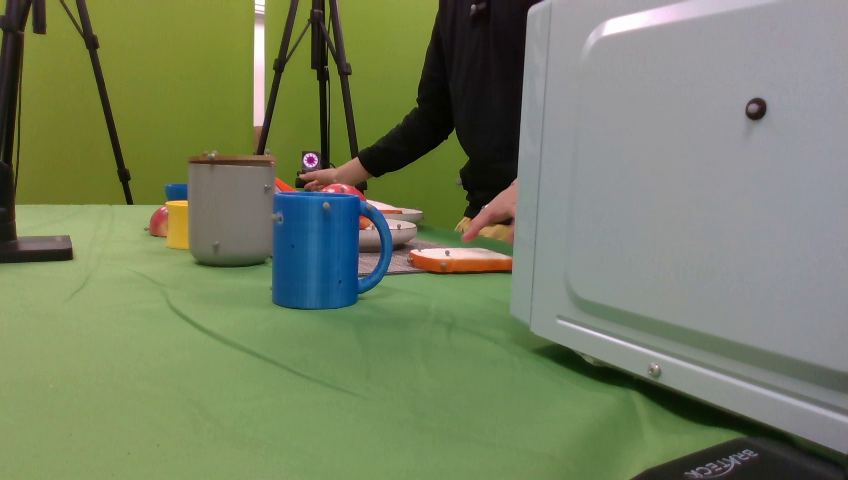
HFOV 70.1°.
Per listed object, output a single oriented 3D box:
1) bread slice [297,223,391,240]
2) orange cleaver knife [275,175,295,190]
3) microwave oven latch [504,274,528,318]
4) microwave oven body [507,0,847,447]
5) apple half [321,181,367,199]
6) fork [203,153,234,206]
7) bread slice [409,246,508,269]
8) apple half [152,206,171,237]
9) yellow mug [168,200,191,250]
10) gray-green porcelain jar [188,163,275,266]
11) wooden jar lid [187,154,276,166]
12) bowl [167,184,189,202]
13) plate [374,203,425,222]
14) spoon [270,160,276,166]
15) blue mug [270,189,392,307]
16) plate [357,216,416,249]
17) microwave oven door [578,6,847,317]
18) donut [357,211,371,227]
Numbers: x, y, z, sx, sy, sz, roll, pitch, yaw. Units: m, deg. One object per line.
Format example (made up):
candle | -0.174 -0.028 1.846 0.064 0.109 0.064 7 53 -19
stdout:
bread slice | -0.121 -0.015 0.970 0.106 0.018 0.135 9 8 41
orange cleaver knife | -0.283 -0.087 1.343 0.212 0.077 0.012 24 -16 -41
microwave oven latch | 0.100 0.041 0.471 0.079 0.029 0.030 -1 8 -28
microwave oven body | 0.331 -0.042 0.425 0.444 0.260 0.324 -2 8 -31
apple half | -0.129 -0.076 0.950 0.081 0.033 0.081 2 14 0
fork | -0.480 -0.136 1.411 0.028 0.018 0.207 0 -34 -1
bread slice | 0.048 0.022 0.816 0.132 0.019 0.104 0 7 -23
apple half | -0.415 -0.034 1.017 0.081 0.053 0.074 1 10 -9
yellow mug | -0.320 -0.023 0.904 0.130 0.064 0.100 8 10 36
gray-green porcelain jar | -0.246 -0.034 0.780 0.106 0.126 0.106 2 7 0
wooden jar lid | -0.244 -0.097 0.771 0.108 0.020 0.108 -1 7 0
bowl | -0.408 -0.064 1.154 0.151 0.077 0.151 2 8 0
plate | -0.102 -0.053 1.299 0.209 0.038 0.209 2 8 0
spoon | -0.396 -0.150 1.548 0.042 0.193 0.021 3 -37 -4
blue mug | -0.090 0.005 0.588 0.117 0.106 0.082 1 7 -11
plate | -0.116 -0.014 0.967 0.208 0.039 0.207 2 7 0
microwave oven door | 0.294 -0.067 0.570 0.358 0.243 0.039 -3 9 -31
donut | -0.129 -0.041 0.956 0.099 0.048 0.099 2 8 0
